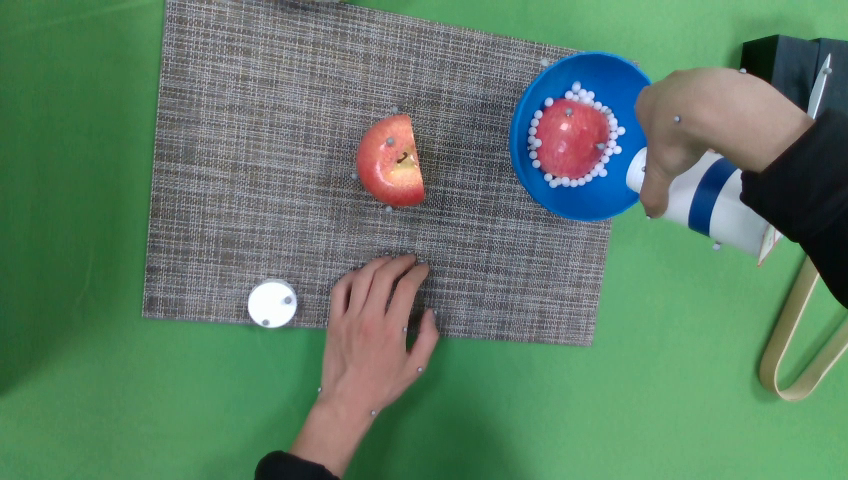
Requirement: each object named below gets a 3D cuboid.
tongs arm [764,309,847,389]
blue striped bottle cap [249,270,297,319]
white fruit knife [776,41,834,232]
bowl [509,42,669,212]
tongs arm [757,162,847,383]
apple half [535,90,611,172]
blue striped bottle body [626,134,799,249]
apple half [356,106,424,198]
[{"bbox_3d":[0.541,0.025,0.717,0.051,0.026,0.384,36,91,-15],"label":"tongs arm"},{"bbox_3d":[-0.141,0.051,0.565,0.045,0.020,0.044,-2,98,-15],"label":"blue striped bottle cap"},{"bbox_3d":[0.393,-0.100,0.634,0.016,0.027,0.209,3,116,4],"label":"white fruit knife"},{"bbox_3d":[0.143,-0.104,0.575,0.152,0.076,0.151,-2,99,-12],"label":"bowl"},{"bbox_3d":[0.473,-0.017,0.699,0.028,0.027,0.387,22,94,-17],"label":"tongs arm"},{"bbox_3d":[0.145,-0.102,0.570,0.081,0.032,0.081,-1,96,-13],"label":"apple half"},{"bbox_3d":[0.225,-0.045,0.488,0.063,0.119,0.063,-29,135,-34],"label":"blue striped bottle body"},{"bbox_3d":[-0.034,-0.076,0.540,0.053,0.074,0.081,-13,105,-7],"label":"apple half"}]
